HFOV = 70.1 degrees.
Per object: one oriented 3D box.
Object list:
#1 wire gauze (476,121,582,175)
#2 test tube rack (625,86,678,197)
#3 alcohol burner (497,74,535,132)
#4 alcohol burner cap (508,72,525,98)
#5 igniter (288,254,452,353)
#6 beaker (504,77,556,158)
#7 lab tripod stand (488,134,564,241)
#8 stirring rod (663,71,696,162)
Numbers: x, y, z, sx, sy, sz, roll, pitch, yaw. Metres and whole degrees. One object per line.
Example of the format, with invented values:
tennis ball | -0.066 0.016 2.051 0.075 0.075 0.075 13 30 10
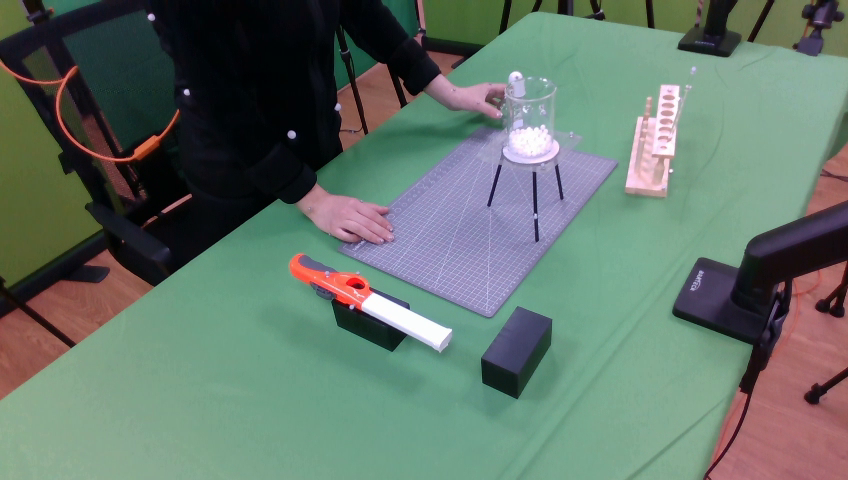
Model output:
wire gauze | 0.162 -0.142 0.929 0.120 0.011 0.125 19 49 32
test tube rack | 0.412 -0.184 1.088 0.066 0.085 0.242 9 43 18
alcohol burner | 0.184 -0.278 1.210 0.078 0.119 0.077 -3 42 3
alcohol burner cap | 0.181 -0.306 1.186 0.034 0.048 0.033 -6 39 6
igniter | -0.083 0.079 0.818 0.274 0.025 0.057 23 46 27
beaker | 0.160 -0.181 0.900 0.084 0.101 0.073 -32 46 -27
lab tripod stand | 0.168 -0.092 0.972 0.148 0.132 0.147 -5 41 5
stirring rod | 0.410 -0.195 0.981 0.014 0.177 0.006 11 50 13
